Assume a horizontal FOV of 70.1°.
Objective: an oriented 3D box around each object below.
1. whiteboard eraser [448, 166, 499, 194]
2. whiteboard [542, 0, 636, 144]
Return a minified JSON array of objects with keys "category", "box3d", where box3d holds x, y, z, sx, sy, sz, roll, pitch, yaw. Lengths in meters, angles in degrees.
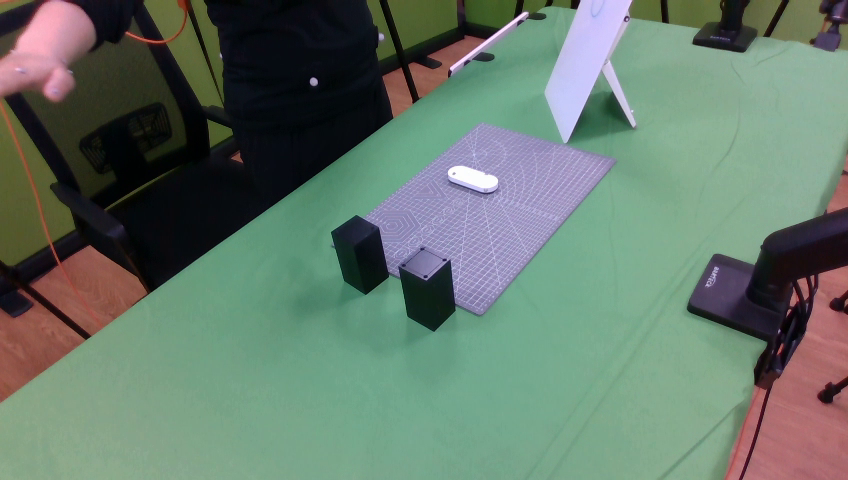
[{"category":"whiteboard eraser","box3d":[0.088,-0.108,1.082,0.100,0.019,0.041,22,49,31]},{"category":"whiteboard","box3d":[0.366,-0.351,1.160,0.144,0.305,0.216,10,39,-10]}]
